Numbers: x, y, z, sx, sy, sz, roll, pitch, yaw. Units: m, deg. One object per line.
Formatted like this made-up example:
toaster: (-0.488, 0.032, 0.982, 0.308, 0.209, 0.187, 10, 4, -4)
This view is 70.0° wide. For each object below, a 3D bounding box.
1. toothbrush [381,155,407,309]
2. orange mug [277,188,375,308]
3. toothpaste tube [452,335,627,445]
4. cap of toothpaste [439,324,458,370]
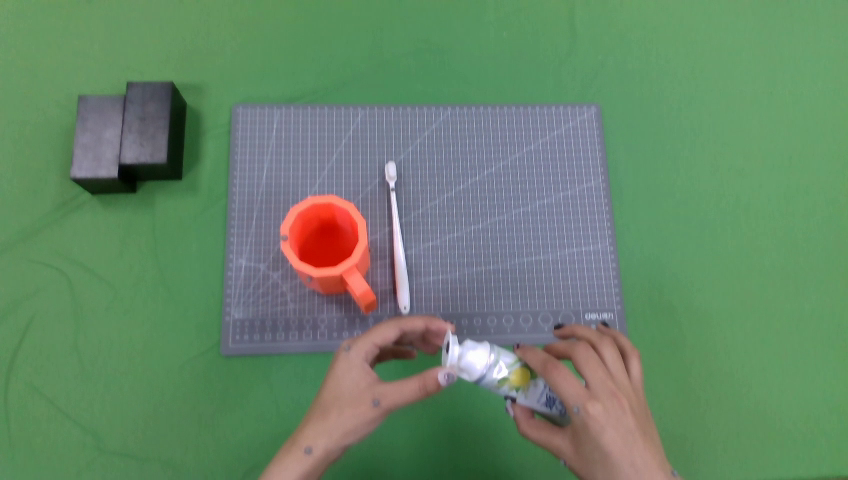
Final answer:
toothbrush: (-0.033, -0.012, 0.690, 0.014, 0.016, 0.181, -2, 77, -20)
orange mug: (-0.093, 0.015, 0.638, 0.083, 0.101, 0.125, -35, 76, -11)
toothpaste tube: (0.094, 0.121, 0.508, 0.166, 0.034, 0.055, 25, 91, -13)
cap of toothpaste: (0.020, 0.086, 0.488, 0.011, 0.037, 0.037, 6, 75, -4)
